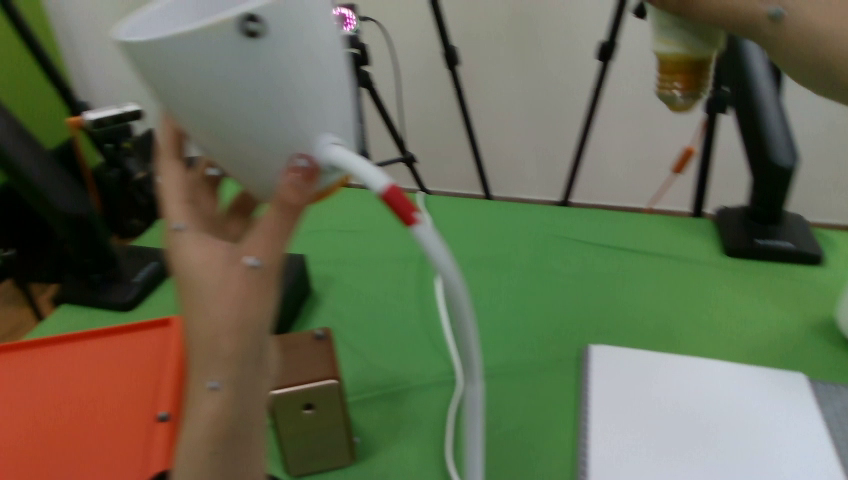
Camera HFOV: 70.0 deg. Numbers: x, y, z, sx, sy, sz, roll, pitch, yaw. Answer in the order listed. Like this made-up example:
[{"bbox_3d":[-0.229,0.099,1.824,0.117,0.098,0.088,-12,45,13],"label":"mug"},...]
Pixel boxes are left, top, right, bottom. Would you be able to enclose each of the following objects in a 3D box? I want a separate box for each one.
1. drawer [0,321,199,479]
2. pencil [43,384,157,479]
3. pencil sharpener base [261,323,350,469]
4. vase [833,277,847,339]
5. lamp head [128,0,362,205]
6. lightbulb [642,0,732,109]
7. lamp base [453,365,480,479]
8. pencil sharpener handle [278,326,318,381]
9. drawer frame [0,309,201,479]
[{"bbox_3d":[-0.307,0.171,0.521,0.195,0.074,0.209,-9,32,-10],"label":"drawer"},{"bbox_3d":[-0.299,0.190,0.497,0.012,0.012,0.193,20,50,31],"label":"pencil"},{"bbox_3d":[-0.105,0.137,0.539,0.061,0.108,0.076,-9,33,-10],"label":"pencil sharpener base"},{"bbox_3d":[0.489,0.022,0.605,0.098,0.201,0.097,-2,31,2],"label":"vase"},{"bbox_3d":[-0.080,-0.080,0.338,0.112,0.124,0.111,-15,31,10],"label":"lamp head"},{"bbox_3d":[0.122,-0.115,0.280,0.059,0.108,0.059,-6,24,3],"label":"lightbulb"},{"bbox_3d":[0.038,0.183,0.387,0.161,0.181,0.177,-11,30,-14],"label":"lamp base"},{"bbox_3d":[-0.119,0.101,0.574,0.036,0.068,0.030,-4,32,-13],"label":"pencil sharpener handle"},{"bbox_3d":[-0.309,0.168,0.523,0.202,0.083,0.211,-10,32,-11],"label":"drawer frame"}]
